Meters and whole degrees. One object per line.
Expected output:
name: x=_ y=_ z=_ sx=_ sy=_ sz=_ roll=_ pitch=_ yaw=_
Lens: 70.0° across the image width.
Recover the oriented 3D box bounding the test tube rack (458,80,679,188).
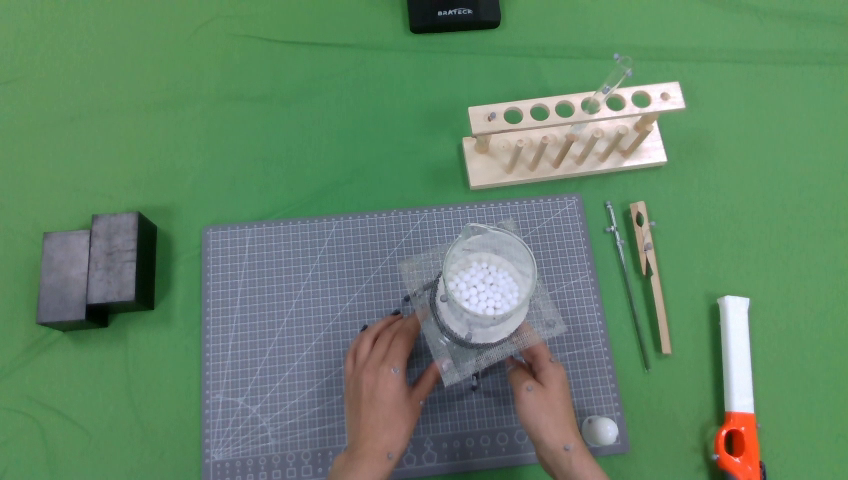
test tube rack: x=0.167 y=-0.123 z=0.711 sx=0.242 sy=0.085 sz=0.066 roll=-8 pitch=73 yaw=-4

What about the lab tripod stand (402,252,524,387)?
lab tripod stand: x=0.042 y=0.073 z=0.620 sx=0.148 sy=0.132 sz=0.147 roll=0 pitch=74 yaw=0

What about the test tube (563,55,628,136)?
test tube: x=0.186 y=-0.155 z=0.670 sx=0.017 sy=0.151 sz=0.017 roll=2 pitch=71 yaw=-7

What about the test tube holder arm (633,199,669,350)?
test tube holder arm: x=0.261 y=0.038 z=0.700 sx=0.013 sy=0.015 sz=0.177 roll=-16 pitch=72 yaw=29

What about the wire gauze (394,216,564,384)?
wire gauze: x=0.049 y=0.051 z=0.558 sx=0.121 sy=0.011 sz=0.124 roll=-22 pitch=76 yaw=-5

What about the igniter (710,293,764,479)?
igniter: x=0.335 y=0.193 z=0.653 sx=0.057 sy=0.025 sz=0.275 roll=8 pitch=73 yaw=-10

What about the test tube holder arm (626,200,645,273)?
test tube holder arm: x=0.252 y=-0.004 z=0.715 sx=0.010 sy=0.015 sz=0.087 roll=-15 pitch=72 yaw=29

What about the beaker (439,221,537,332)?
beaker: x=0.048 y=0.035 z=0.513 sx=0.074 sy=0.101 sz=0.083 roll=-20 pitch=74 yaw=-6

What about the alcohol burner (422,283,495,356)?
alcohol burner: x=0.037 y=0.078 z=0.629 sx=0.078 sy=0.120 sz=0.077 roll=0 pitch=71 yaw=-1

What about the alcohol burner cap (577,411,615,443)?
alcohol burner cap: x=0.183 y=0.196 z=0.636 sx=0.034 sy=0.048 sz=0.033 roll=0 pitch=73 yaw=-1

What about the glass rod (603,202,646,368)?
glass rod: x=0.231 y=0.048 z=0.702 sx=0.008 sy=0.008 sz=0.198 roll=-7 pitch=73 yaw=-4
